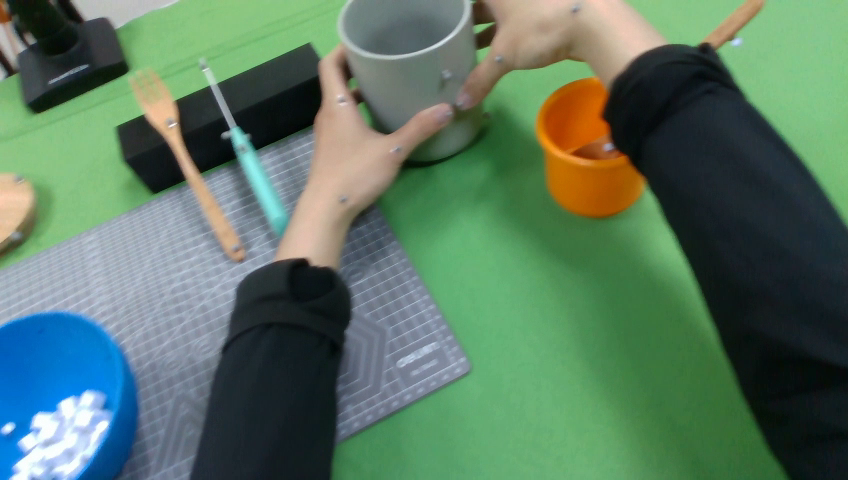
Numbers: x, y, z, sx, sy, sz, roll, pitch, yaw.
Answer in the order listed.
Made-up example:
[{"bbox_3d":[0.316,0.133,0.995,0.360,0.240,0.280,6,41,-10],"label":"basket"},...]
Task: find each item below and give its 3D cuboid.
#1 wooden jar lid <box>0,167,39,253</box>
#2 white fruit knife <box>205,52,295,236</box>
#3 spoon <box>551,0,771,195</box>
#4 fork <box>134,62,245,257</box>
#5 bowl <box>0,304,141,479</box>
[{"bbox_3d":[-0.421,-0.023,0.584,0.108,0.021,0.107,-4,56,7],"label":"wooden jar lid"},{"bbox_3d":[-0.161,-0.093,0.540,0.016,0.027,0.205,-27,70,-7],"label":"white fruit knife"},{"bbox_3d":[0.166,-0.101,0.441,0.022,0.194,0.041,6,49,-40],"label":"spoon"},{"bbox_3d":[-0.206,-0.073,0.534,0.028,0.019,0.206,-28,74,-14],"label":"fork"},{"bbox_3d":[-0.254,0.128,0.411,0.151,0.077,0.150,-5,56,8],"label":"bowl"}]
